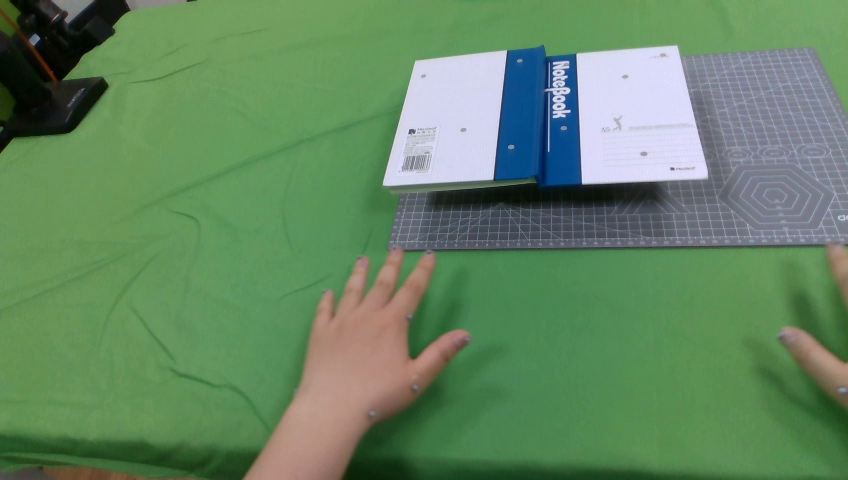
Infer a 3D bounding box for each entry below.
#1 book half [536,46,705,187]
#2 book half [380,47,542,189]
[{"bbox_3d":[0.185,-0.127,0.597,0.143,0.007,0.208,-1,48,13],"label":"book half"},{"bbox_3d":[0.044,-0.129,0.623,0.148,0.016,0.208,-1,49,14],"label":"book half"}]
